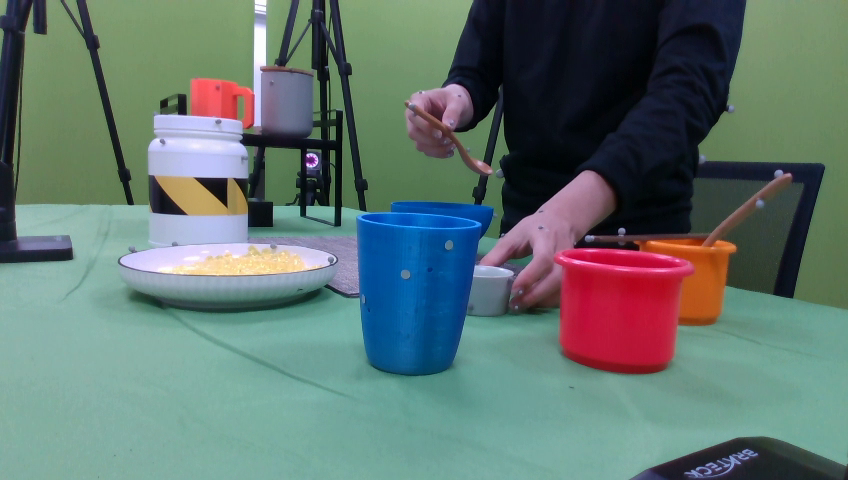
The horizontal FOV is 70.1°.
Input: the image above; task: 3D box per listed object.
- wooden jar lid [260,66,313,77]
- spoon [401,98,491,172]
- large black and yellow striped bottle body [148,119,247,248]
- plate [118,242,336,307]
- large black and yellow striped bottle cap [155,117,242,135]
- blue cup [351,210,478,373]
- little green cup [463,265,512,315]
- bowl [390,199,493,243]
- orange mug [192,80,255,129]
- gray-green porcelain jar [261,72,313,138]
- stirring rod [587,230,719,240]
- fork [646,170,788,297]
[{"bbox_3d":[-0.283,-0.339,1.244,0.108,0.020,0.108,6,9,-1],"label":"wooden jar lid"},{"bbox_3d":[0.031,-0.133,0.774,0.195,0.021,0.041,34,16,-49],"label":"spoon"},{"bbox_3d":[-0.318,-0.076,0.855,0.131,0.184,0.130,2,7,0],"label":"large black and yellow striped bottle body"},{"bbox_3d":[-0.194,0.033,0.615,0.209,0.038,0.209,2,7,0],"label":"plate"},{"bbox_3d":[-0.313,-0.159,0.845,0.115,0.019,0.115,3,9,0],"label":"large black and yellow striped bottle cap"},{"bbox_3d":[-0.009,0.034,0.414,0.093,0.100,0.092,3,9,0],"label":"blue cup"},{"bbox_3d":[0.053,0.047,0.579,0.061,0.038,0.061,4,7,0],"label":"little green cup"},{"bbox_3d":[0.023,-0.016,0.874,0.151,0.077,0.151,3,7,0],"label":"bowl"},{"bbox_3d":[-0.389,-0.257,1.172,0.126,0.100,0.083,0,6,10],"label":"orange mug"},{"bbox_3d":[-0.284,-0.277,1.253,0.106,0.126,0.106,2,8,0],"label":"gray-green porcelain jar"},{"bbox_3d":[0.226,-0.005,0.587,0.177,0.006,0.014,-2,10,-30],"label":"stirring rod"},{"bbox_3d":[0.256,0.004,0.543,0.028,0.018,0.207,3,-37,-10],"label":"fork"}]
